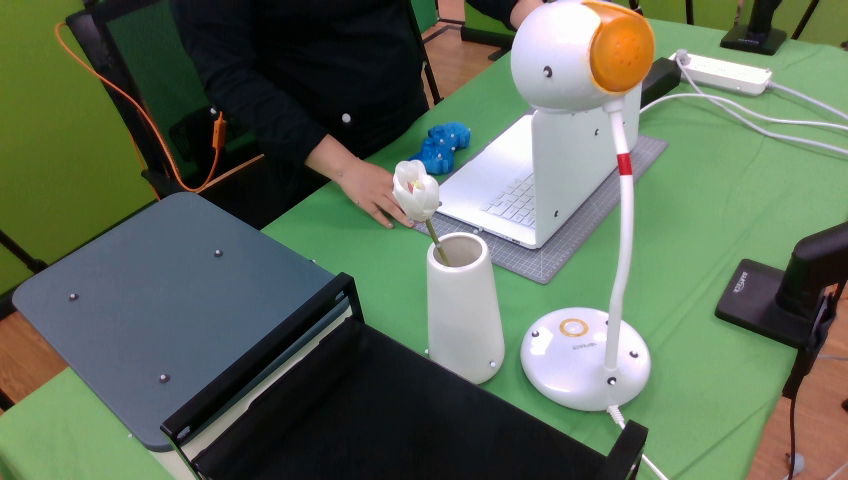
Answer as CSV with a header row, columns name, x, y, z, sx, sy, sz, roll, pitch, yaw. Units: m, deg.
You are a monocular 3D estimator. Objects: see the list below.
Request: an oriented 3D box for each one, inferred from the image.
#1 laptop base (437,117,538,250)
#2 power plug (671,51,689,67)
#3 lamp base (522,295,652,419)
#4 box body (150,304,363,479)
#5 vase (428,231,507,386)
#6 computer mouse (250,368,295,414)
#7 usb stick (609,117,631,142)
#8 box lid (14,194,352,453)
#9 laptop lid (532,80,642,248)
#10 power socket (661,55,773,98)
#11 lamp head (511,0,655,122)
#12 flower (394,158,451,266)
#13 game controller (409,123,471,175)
name,x,y,z,sx,sy,sz,roll,pitch,yaw
laptop base,0.193,-0.116,1.087,0.233,0.023,0.355,21,48,34
power plug,0.540,-0.379,1.302,0.073,0.053,0.035,-30,46,-22
lamp base,0.201,0.095,0.710,0.161,0.181,0.177,-16,43,-10
box body,-0.284,0.123,0.765,0.361,0.161,0.255,25,49,33
vase,0.050,0.087,0.728,0.098,0.201,0.097,-3,40,3
computer mouse,-0.196,0.182,0.771,0.063,0.041,0.116,-12,47,-11
usb stick,0.370,-0.207,1.147,0.021,0.027,0.059,25,55,33
box lid,-0.290,0.067,0.716,0.368,0.015,0.264,25,50,33
laptop lid,0.268,-0.170,0.951,0.013,0.243,0.358,21,46,34
power socket,0.619,-0.352,1.289,0.225,0.033,0.072,26,51,33
lamp head,0.155,-0.168,0.563,0.113,0.113,0.122,-18,23,-12
flower,0.028,0.035,0.664,0.043,0.364,0.038,36,73,29
game controller,0.029,-0.181,1.169,0.096,0.052,0.155,14,45,18
